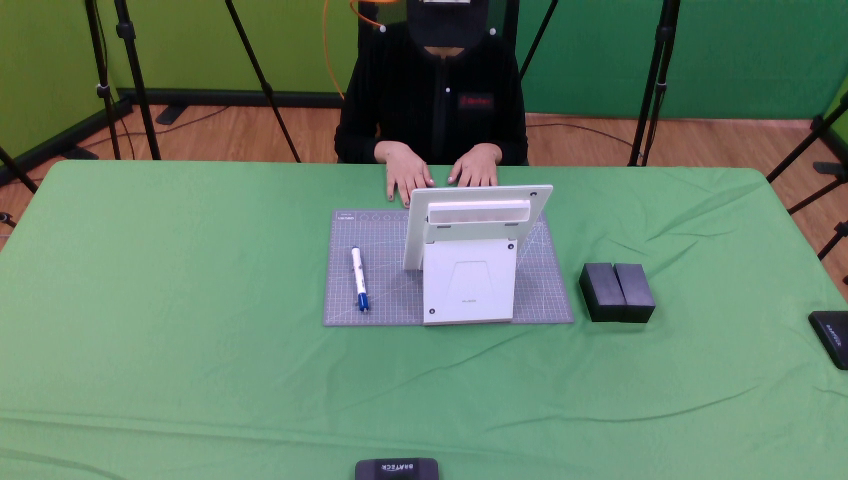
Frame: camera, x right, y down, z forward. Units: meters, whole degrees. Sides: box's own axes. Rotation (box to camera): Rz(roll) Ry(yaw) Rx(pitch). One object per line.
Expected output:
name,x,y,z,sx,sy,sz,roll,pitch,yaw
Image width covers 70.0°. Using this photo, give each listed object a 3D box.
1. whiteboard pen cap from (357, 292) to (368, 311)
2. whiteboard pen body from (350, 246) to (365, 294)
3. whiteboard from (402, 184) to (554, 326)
whiteboard pen cap,-0.110,0.110,1.083,0.018,0.018,0.033,-6,48,-9
whiteboard pen body,-0.121,0.066,1.121,0.017,0.017,0.140,-6,49,-9
whiteboard,0.081,0.044,1.005,0.217,0.306,0.143,-1,65,-6
